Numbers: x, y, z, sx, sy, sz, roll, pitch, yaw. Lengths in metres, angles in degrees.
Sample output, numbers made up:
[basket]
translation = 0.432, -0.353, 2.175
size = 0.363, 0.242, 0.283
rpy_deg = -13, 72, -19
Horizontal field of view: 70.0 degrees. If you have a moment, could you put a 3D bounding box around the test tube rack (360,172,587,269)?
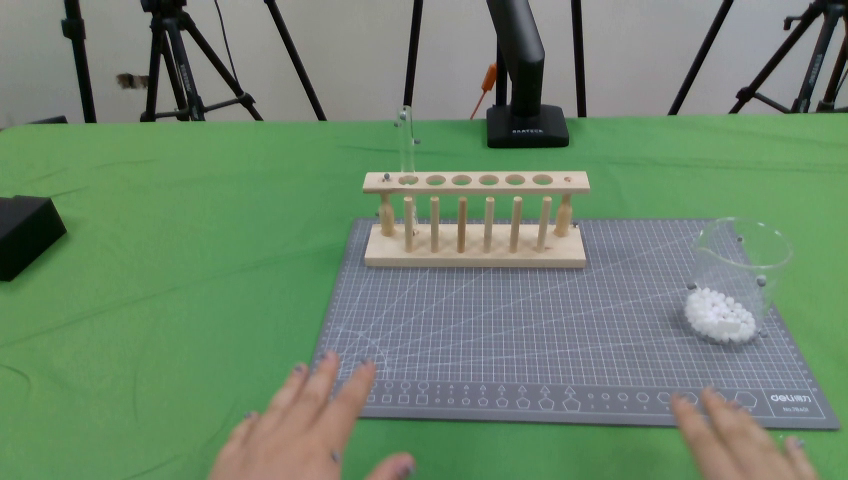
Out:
[test tube rack]
translation = 0.053, -0.022, 0.669
size = 0.242, 0.086, 0.066
rpy_deg = 0, 37, 4

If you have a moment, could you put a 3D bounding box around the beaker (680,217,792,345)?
[beaker]
translation = 0.278, 0.041, 0.558
size = 0.084, 0.101, 0.073
rpy_deg = 0, 37, 6

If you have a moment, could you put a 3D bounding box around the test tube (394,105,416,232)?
[test tube]
translation = -0.020, -0.073, 0.660
size = 0.017, 0.151, 0.017
rpy_deg = -2, 34, 2
